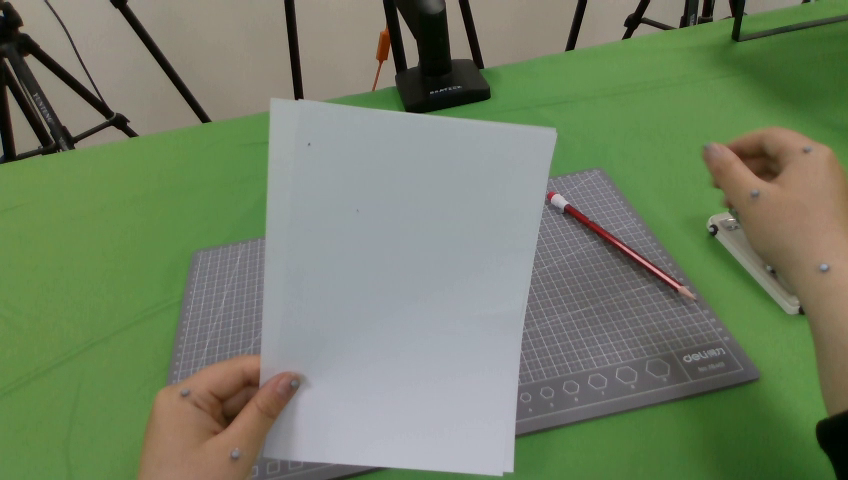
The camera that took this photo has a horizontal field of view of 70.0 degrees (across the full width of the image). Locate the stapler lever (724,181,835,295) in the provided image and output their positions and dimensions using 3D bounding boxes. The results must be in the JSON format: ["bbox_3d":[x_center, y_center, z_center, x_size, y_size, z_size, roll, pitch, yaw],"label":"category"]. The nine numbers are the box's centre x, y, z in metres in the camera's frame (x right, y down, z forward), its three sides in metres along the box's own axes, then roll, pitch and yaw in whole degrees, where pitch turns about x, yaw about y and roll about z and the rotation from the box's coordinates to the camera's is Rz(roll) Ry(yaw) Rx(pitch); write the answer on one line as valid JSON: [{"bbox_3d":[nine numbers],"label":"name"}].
[{"bbox_3d":[0.295,-0.006,0.508,0.027,0.040,0.116,-15,40,-3],"label":"stapler lever"}]

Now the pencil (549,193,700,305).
[{"bbox_3d":[0.179,0.003,0.562,0.012,0.012,0.192,-24,42,-18],"label":"pencil"}]

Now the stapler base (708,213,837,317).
[{"bbox_3d":[0.298,0.011,0.525,0.041,0.025,0.129,-15,41,-3],"label":"stapler base"}]
